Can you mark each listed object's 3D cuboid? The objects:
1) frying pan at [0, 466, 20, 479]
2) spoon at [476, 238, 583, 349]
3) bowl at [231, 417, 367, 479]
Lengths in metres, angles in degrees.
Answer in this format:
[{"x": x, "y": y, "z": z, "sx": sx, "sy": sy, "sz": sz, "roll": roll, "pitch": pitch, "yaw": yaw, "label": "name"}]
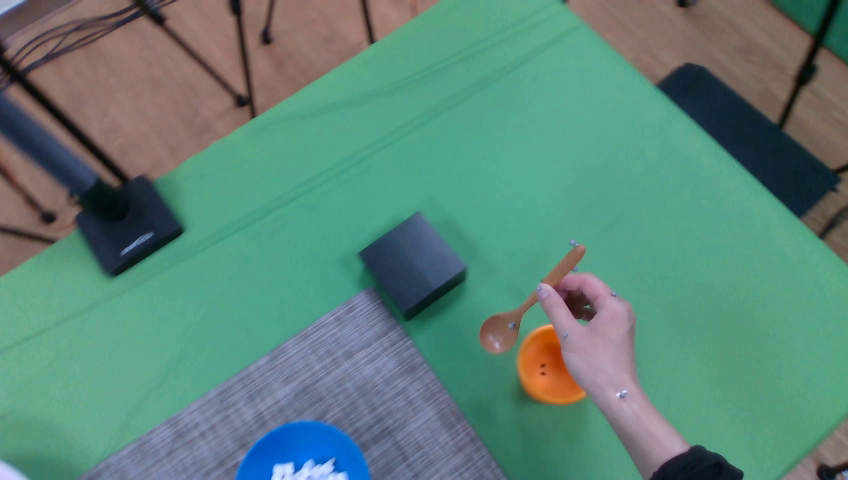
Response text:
[{"x": -0.475, "y": 0.462, "z": 0.620, "sx": 0.307, "sy": 0.103, "sz": 0.483, "roll": -35, "pitch": 64, "yaw": -10, "label": "frying pan"}, {"x": 0.104, "y": 0.059, "z": 0.608, "sx": 0.041, "sy": 0.194, "sz": 0.021, "roll": 45, "pitch": 51, "yaw": 10, "label": "spoon"}, {"x": -0.133, "y": 0.280, "z": 0.684, "sx": 0.151, "sy": 0.077, "sz": 0.150, "roll": -1, "pitch": 70, "yaw": 2, "label": "bowl"}]
